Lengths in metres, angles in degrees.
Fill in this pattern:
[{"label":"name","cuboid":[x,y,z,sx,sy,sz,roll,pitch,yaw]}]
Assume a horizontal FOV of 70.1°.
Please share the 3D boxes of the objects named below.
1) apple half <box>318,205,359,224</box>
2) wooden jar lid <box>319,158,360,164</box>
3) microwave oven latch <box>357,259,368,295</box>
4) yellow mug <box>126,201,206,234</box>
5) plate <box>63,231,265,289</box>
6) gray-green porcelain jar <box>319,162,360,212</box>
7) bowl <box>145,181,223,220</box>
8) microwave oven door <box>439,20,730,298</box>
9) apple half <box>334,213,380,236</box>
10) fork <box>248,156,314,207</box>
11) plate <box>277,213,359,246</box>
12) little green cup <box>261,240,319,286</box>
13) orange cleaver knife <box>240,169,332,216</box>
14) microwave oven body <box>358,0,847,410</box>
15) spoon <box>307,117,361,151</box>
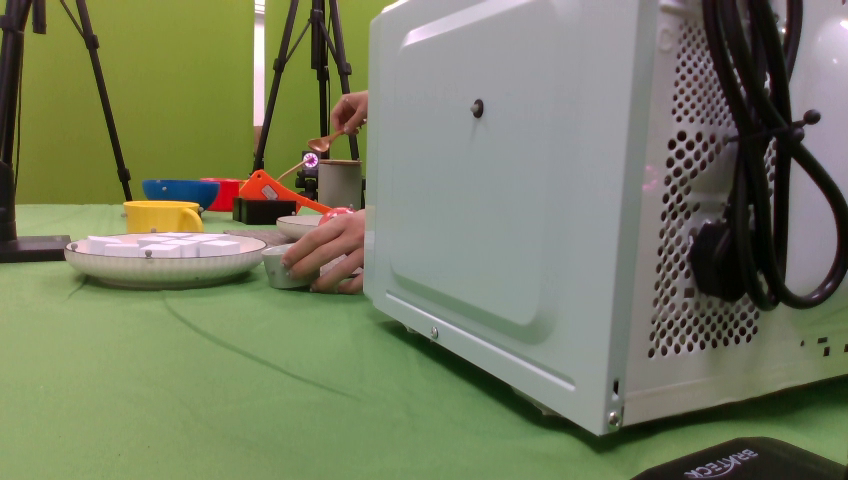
[{"label":"apple half","cuboid":[-0.126,-0.028,0.954,0.081,0.053,0.074,-2,11,-33]},{"label":"wooden jar lid","cuboid":[-0.203,-0.189,1.481,0.108,0.020,0.108,2,10,0]},{"label":"microwave oven latch","cuboid":[-0.019,0.031,0.529,0.079,0.029,0.030,-1,7,-26]},{"label":"yellow mug","cuboid":[-0.360,-0.019,0.866,0.130,0.064,0.100,6,9,27]},{"label":"plate","cuboid":[-0.288,0.021,0.687,0.208,0.039,0.207,2,8,0]},{"label":"gray-green porcelain jar","cuboid":[-0.204,-0.126,1.489,0.106,0.126,0.106,2,7,0]},{"label":"bowl","cuboid":[-0.499,-0.081,1.261,0.151,0.077,0.151,2,7,0]},{"label":"microwave oven door","cuboid":[0.181,-0.076,0.618,0.358,0.243,0.039,-2,8,-28]},{"label":"apple half","cuboid":[-0.112,-0.029,1.034,0.081,0.033,0.081,0,10,0]},{"label":"fork","cuboid":[-0.360,-0.147,1.523,0.207,0.019,0.028,-43,18,-6]},{"label":"plate","cuboid":[-0.135,-0.018,0.993,0.209,0.038,0.209,2,7,0]},{"label":"little green cup","cuboid":[-0.142,0.024,0.651,0.061,0.038,0.061,-2,12,1]},{"label":"orange cleaver knife","cuboid":[-0.287,-0.082,1.298,0.212,0.077,0.012,25,-2,-31]},{"label":"microwave oven body","cuboid":[0.210,-0.051,0.471,0.444,0.260,0.324,-1,7,-28]},{"label":"spoon","cuboid":[-0.182,-0.235,1.313,0.041,0.021,0.194,26,45,22]}]
